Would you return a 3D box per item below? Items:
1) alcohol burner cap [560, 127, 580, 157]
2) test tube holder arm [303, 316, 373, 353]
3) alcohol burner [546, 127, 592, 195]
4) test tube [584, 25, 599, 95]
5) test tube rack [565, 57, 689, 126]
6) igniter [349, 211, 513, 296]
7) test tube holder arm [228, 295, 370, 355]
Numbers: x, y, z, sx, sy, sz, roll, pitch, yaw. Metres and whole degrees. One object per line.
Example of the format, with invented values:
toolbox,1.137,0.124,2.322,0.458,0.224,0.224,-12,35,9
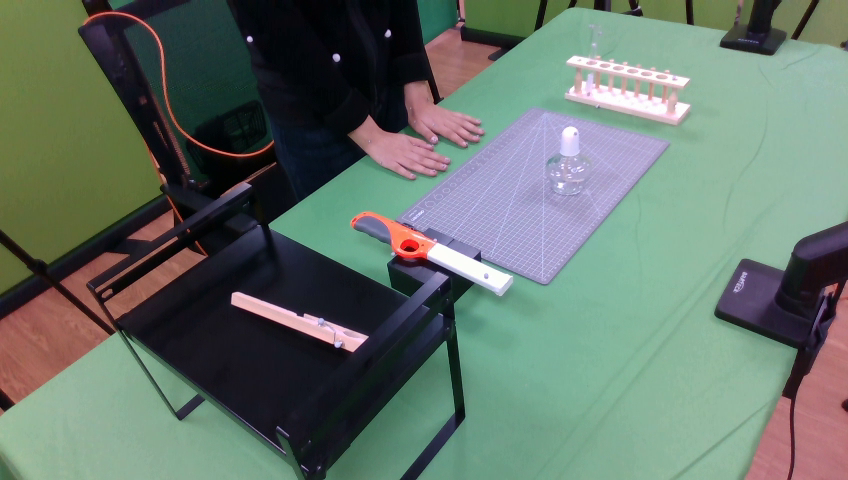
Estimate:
alcohol burner cap,0.242,-0.165,1.001,0.034,0.048,0.033,-4,38,4
test tube holder arm,-0.090,0.094,0.604,0.087,0.015,0.010,14,6,26
alcohol burner,0.246,-0.137,1.024,0.078,0.119,0.077,-4,38,4
test tube,0.339,-0.361,1.224,0.017,0.151,0.017,-4,45,4
test tube rack,0.411,-0.311,1.230,0.240,0.085,0.067,23,49,32
igniter,0.003,0.013,0.881,0.274,0.025,0.057,24,52,28
test tube holder arm,-0.132,0.084,0.617,0.177,0.015,0.013,14,6,24
